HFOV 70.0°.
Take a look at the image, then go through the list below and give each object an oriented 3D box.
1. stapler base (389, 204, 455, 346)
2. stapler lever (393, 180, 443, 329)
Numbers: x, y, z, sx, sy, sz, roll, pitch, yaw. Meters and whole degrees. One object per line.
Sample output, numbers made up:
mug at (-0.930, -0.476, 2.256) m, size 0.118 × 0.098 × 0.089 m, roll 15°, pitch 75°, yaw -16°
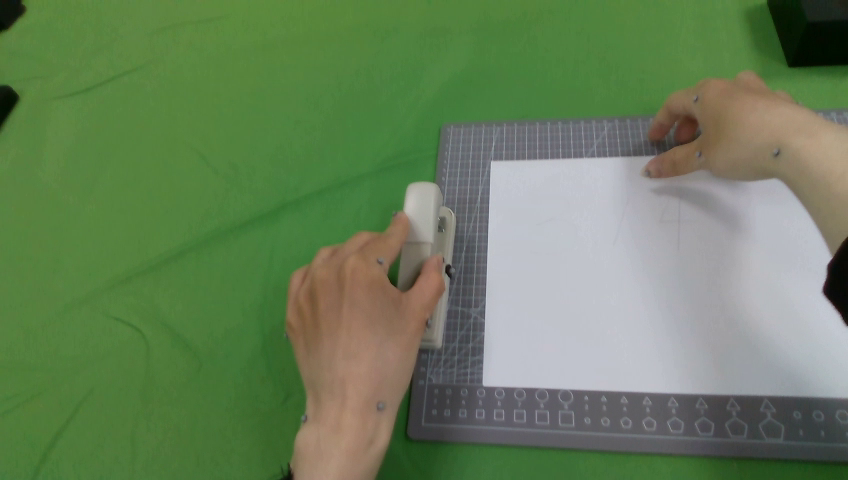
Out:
stapler base at (-0.001, 0.020, 0.478) m, size 0.041 × 0.025 × 0.129 m, roll 0°, pitch 58°, yaw 12°
stapler lever at (-0.004, 0.007, 0.457) m, size 0.027 × 0.040 × 0.117 m, roll 0°, pitch 58°, yaw 12°
